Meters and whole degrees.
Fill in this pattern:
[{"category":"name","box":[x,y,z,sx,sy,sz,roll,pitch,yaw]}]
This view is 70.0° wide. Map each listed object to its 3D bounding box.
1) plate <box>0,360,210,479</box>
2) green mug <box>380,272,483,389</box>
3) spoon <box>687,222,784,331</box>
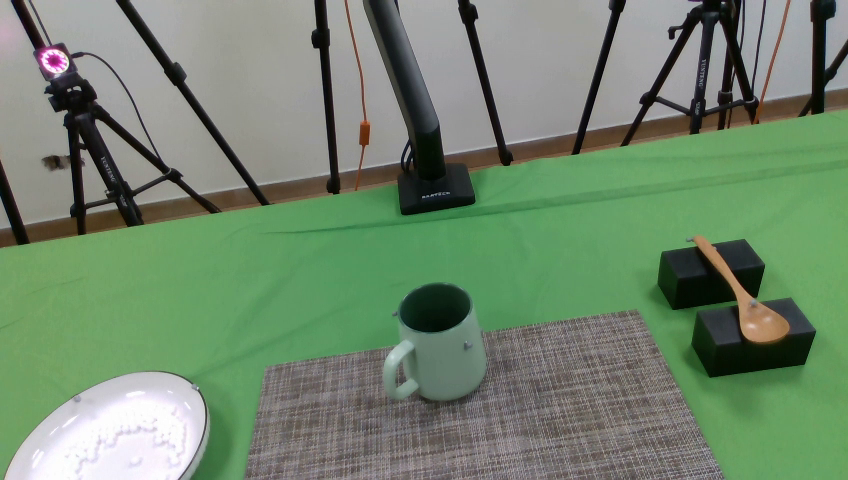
[{"category":"plate","box":[-0.325,0.216,0.635,0.209,0.038,0.207,-6,37,5]},{"category":"green mug","box":[0.004,0.107,0.641,0.091,0.106,0.125,26,50,36]},{"category":"spoon","box":[0.328,0.032,0.655,0.041,0.022,0.192,-25,35,15]}]
